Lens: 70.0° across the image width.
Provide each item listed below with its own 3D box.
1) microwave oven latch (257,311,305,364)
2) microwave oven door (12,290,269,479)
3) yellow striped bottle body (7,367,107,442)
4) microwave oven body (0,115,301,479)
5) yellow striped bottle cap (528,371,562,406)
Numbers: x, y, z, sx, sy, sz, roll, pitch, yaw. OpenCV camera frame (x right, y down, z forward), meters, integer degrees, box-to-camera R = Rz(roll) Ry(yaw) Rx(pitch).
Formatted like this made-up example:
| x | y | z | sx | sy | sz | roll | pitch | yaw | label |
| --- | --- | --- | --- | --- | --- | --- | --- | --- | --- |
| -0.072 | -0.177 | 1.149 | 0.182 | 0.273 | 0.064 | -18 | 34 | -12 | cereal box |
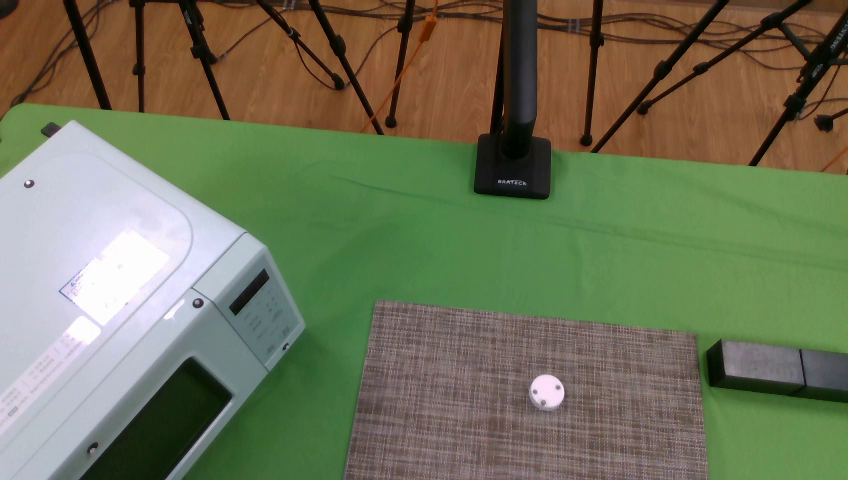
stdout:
| x | y | z | sx | sy | sz | roll | pitch | yaw | label |
| --- | --- | --- | --- | --- | --- | --- | --- | --- | --- |
| -0.193 | 0.125 | 0.807 | 0.030 | 0.030 | 0.079 | 33 | 67 | 16 | microwave oven latch |
| -0.318 | 0.235 | 0.633 | 0.039 | 0.246 | 0.354 | 30 | 66 | 16 | microwave oven door |
| -0.411 | 0.182 | 0.676 | 0.063 | 0.121 | 0.062 | 1 | 60 | -1 | yellow striped bottle body |
| -0.416 | 0.136 | 0.692 | 0.324 | 0.262 | 0.440 | 31 | 67 | 15 | microwave oven body |
| 0.159 | 0.195 | 0.797 | 0.044 | 0.019 | 0.044 | -1 | 61 | 2 | yellow striped bottle cap |
